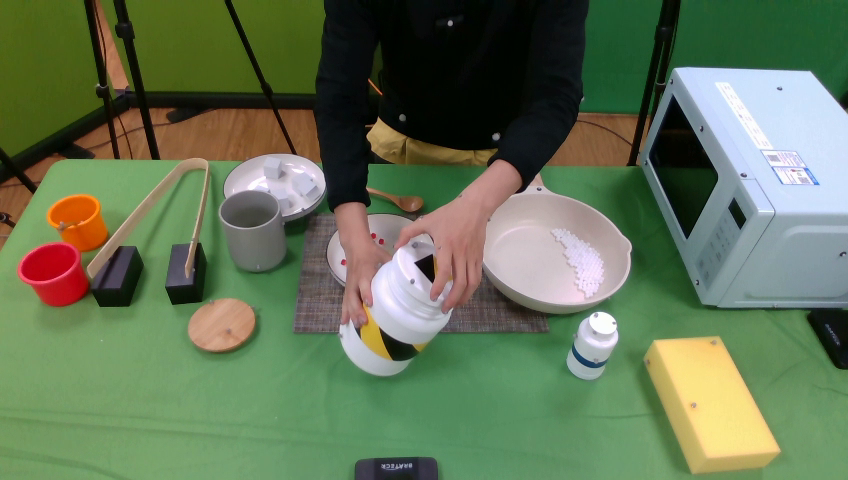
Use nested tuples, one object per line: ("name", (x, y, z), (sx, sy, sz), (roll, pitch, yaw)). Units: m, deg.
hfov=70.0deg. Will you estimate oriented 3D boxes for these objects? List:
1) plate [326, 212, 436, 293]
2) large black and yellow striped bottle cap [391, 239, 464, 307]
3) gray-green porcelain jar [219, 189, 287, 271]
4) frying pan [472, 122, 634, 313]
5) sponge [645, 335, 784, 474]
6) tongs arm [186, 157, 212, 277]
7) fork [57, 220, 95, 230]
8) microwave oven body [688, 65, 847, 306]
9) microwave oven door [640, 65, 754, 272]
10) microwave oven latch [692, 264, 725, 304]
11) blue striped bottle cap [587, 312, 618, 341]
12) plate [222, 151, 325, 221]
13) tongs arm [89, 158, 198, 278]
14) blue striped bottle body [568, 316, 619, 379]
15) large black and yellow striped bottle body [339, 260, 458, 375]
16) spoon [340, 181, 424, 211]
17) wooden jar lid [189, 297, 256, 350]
("plate", (-0.080, 0.030, 1.143), (0.209, 0.038, 0.208), (2, 46, -2))
("large black and yellow striped bottle cap", (0.006, 0.046, 0.871), (0.115, 0.019, 0.114), (25, 36, -19))
("gray-green porcelain jar", (-0.309, -0.014, 1.113), (0.106, 0.127, 0.105), (2, 46, -2))
("frying pan", (0.235, -0.061, 1.207), (0.307, 0.103, 0.484), (1, 55, -6))
("sponge", (0.449, 0.253, 0.956), (0.118, 0.061, 0.205), (-4, 46, -7))
("tongs arm", (-0.445, -0.058, 1.168), (0.051, 0.026, 0.382), (-5, 37, -6))
("fork", (-0.624, -0.027, 1.086), (0.028, 0.207, 0.018), (-3, 92, -17))
("microwave oven body", (0.669, -0.111, 1.176), (0.326, 0.261, 0.439), (0, 46, -3))
("microwave oven door", (0.523, -0.147, 1.193), (0.039, 0.245, 0.353), (0, 47, -3))
("microwave oven latch", (0.522, 0.081, 1.116), (0.030, 0.029, 0.078), (1, 46, -2))
("blue striped bottle cap", (0.279, 0.134, 0.947), (0.044, 0.021, 0.044), (2, 45, -2))
("plate", (-0.310, -0.106, 1.263), (0.208, 0.039, 0.206), (2, 47, -2))
("tongs arm", (-0.529, -0.057, 1.164), (0.028, 0.028, 0.385), (1, 36, 8))
("blue striped bottle body", (0.277, 0.168, 0.984), (0.063, 0.121, 0.062), (2, 46, -2))
("large black and yellow striped bottle body", (-0.038, 0.110, 0.933), (0.131, 0.184, 0.130), (22, 42, -20))
("spoon", (-0.091, -0.100, 1.283), (0.193, 0.022, 0.041), (18, 62, 13))
("wooden jar lid", (-0.342, 0.145, 1.033), (0.108, 0.021, 0.107), (3, 45, -2))
